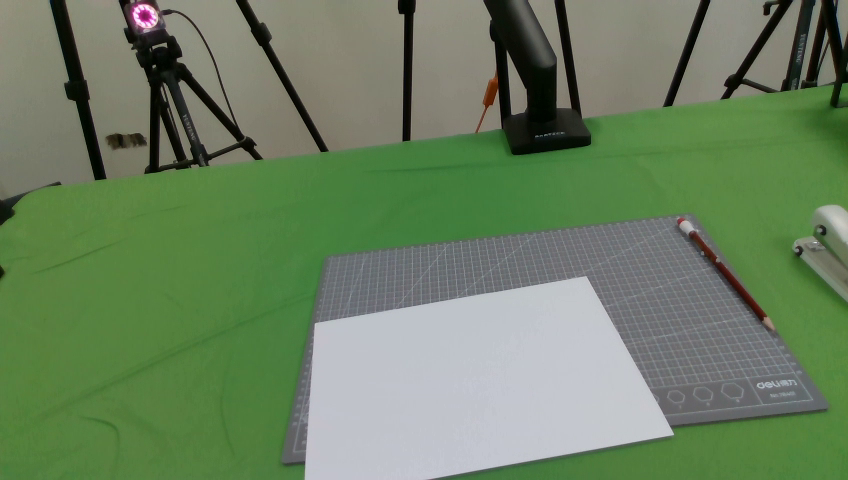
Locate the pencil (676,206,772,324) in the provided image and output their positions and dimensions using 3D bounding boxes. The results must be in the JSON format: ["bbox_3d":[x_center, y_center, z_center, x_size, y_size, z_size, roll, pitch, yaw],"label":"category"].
[{"bbox_3d":[0.308,0.020,0.630,0.012,0.012,0.192,-9,37,-1],"label":"pencil"}]

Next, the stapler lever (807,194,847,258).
[{"bbox_3d":[0.416,-0.002,0.585,0.027,0.040,0.117,-12,37,1],"label":"stapler lever"}]

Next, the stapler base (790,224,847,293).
[{"bbox_3d":[0.419,0.018,0.602,0.041,0.025,0.129,-12,37,1],"label":"stapler base"}]
